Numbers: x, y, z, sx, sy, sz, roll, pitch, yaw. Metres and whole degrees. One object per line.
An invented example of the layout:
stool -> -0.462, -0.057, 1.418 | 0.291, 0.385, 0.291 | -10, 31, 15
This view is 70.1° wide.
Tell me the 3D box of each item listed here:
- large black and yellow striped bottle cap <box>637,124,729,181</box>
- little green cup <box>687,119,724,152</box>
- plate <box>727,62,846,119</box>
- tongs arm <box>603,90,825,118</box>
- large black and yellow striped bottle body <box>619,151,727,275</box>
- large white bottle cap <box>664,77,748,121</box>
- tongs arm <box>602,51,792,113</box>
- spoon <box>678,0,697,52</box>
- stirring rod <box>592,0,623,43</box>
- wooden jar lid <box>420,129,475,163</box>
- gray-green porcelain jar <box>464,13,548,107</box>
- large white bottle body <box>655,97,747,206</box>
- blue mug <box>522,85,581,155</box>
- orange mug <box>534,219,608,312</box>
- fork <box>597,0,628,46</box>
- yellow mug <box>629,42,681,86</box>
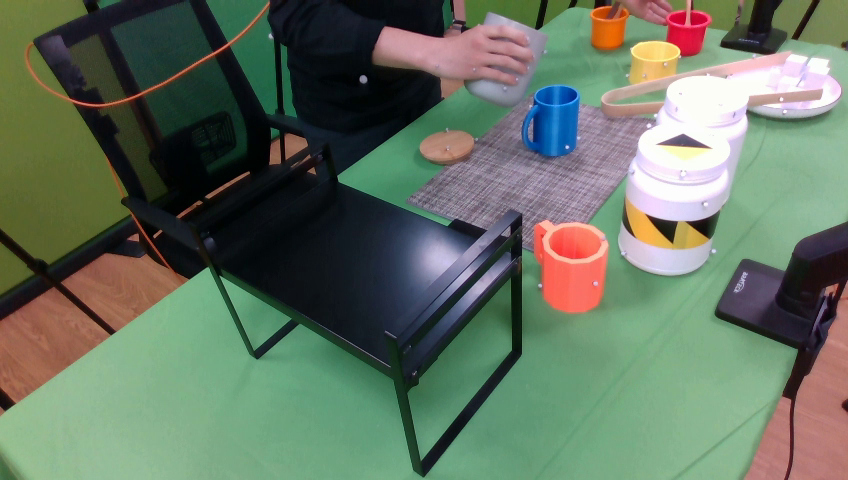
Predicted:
large black and yellow striped bottle cap -> 0.346, -0.119, 0.810 | 0.115, 0.019, 0.114 | -4, 41, 4
little green cup -> 0.513, -0.191, 1.109 | 0.061, 0.039, 0.061 | -5, 40, 5
plate -> 0.709, -0.292, 1.197 | 0.207, 0.039, 0.206 | -4, 40, 4
tongs arm -> 0.546, -0.262, 1.163 | 0.386, 0.028, 0.028 | -1, 49, 18
large black and yellow striped bottle body -> 0.354, -0.056, 0.865 | 0.131, 0.185, 0.130 | -4, 41, 4
large white bottle cap -> 0.421, -0.212, 0.905 | 0.115, 0.018, 0.114 | -4, 40, 4
tongs arm -> 0.552, -0.320, 1.224 | 0.384, 0.027, 0.050 | -10, 43, 7
spoon -> 0.614, -0.526, 1.402 | 0.041, 0.022, 0.193 | 3, 86, 11
stirring rod -> 0.460, -0.557, 1.461 | 0.014, 0.176, 0.006 | 35, 11, 22
wooden jar lid -> 0.047, -0.183, 1.183 | 0.108, 0.021, 0.108 | -6, 37, 5
gray-green porcelain jar -> 0.130, -0.290, 0.991 | 0.106, 0.126, 0.105 | 18, 21, -7
large white bottle body -> 0.430, -0.148, 0.959 | 0.130, 0.185, 0.130 | -4, 41, 4
blue mug -> 0.233, -0.218, 1.127 | 0.117, 0.106, 0.081 | -23, 43, -16
orange mug -> 0.200, 0.027, 0.858 | 0.084, 0.101, 0.125 | -24, 48, -18
fork -> 0.479, -0.558, 1.455 | 0.028, 0.019, 0.207 | 35, 100, 38
yellow mug -> 0.495, -0.389, 1.321 | 0.100, 0.064, 0.130 | -14, 40, -6
